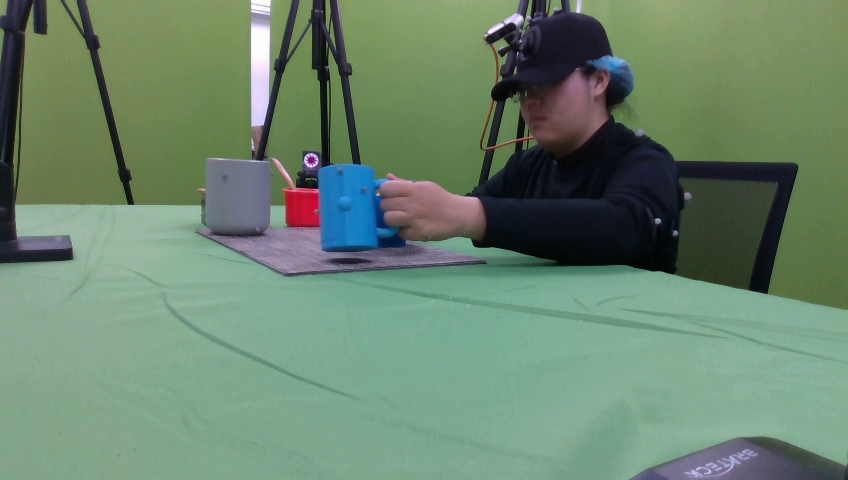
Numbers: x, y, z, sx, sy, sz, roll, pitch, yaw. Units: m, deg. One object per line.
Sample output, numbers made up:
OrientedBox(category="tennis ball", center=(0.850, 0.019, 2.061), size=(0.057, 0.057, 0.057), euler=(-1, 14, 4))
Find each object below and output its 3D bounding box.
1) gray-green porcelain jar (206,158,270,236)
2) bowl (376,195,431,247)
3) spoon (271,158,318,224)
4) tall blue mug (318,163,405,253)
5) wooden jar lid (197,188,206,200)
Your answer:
OrientedBox(category="gray-green porcelain jar", center=(-0.317, -0.074, 1.031), size=(0.106, 0.126, 0.106), euler=(3, 7, 0))
OrientedBox(category="bowl", center=(-0.066, -0.031, 0.984), size=(0.151, 0.077, 0.151), euler=(2, 7, 0))
OrientedBox(category="spoon", center=(-0.268, -0.103, 1.236), size=(0.042, 0.193, 0.021), euler=(-10, -32, -39))
OrientedBox(category="tall blue mug", center=(-0.088, -0.041, 0.815), size=(0.108, 0.108, 0.077), euler=(1, -9, -30))
OrientedBox(category="wooden jar lid", center=(-0.382, -0.088, 1.175), size=(0.108, 0.020, 0.108), euler=(3, 8, 0))
